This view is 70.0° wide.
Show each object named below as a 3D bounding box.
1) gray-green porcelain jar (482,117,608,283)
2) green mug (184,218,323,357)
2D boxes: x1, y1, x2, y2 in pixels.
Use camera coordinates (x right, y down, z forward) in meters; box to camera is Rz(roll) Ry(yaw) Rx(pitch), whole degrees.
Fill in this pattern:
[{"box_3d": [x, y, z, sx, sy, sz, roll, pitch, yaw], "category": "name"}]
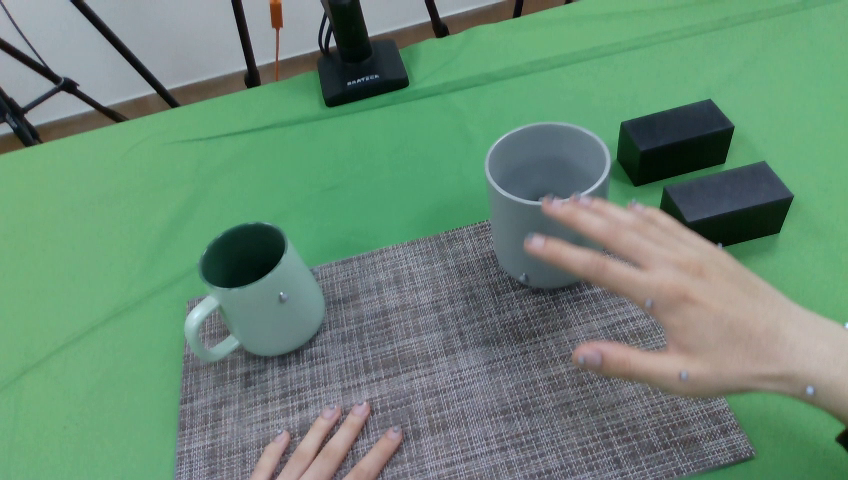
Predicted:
[{"box_3d": [0.110, -0.031, 0.554, 0.106, 0.128, 0.105, -6, 48, 7], "category": "gray-green porcelain jar"}, {"box_3d": [-0.160, 0.054, 0.553, 0.092, 0.106, 0.125, 27, 60, 30], "category": "green mug"}]
